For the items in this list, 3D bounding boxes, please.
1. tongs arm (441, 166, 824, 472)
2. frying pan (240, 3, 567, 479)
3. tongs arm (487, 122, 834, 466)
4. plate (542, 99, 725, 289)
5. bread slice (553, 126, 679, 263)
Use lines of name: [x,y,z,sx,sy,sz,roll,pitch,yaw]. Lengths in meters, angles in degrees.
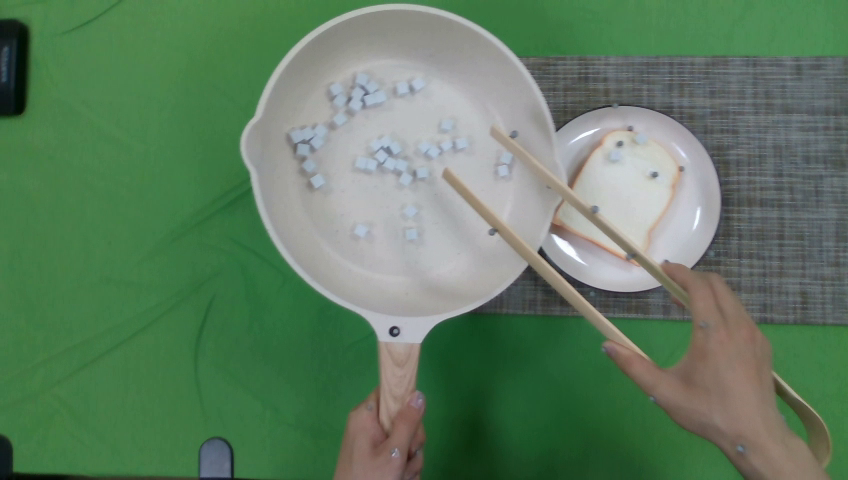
tongs arm: [0.162,0.064,0.508,0.386,0.028,0.028,41,75,7]
frying pan: [-0.021,0.032,0.570,0.308,0.102,0.486,6,82,-14]
tongs arm: [0.187,0.039,0.514,0.384,0.026,0.050,41,79,7]
plate: [0.219,-0.049,0.671,0.207,0.039,0.207,0,86,5]
bread slice: [0.216,-0.057,0.674,0.107,0.018,0.134,25,90,5]
